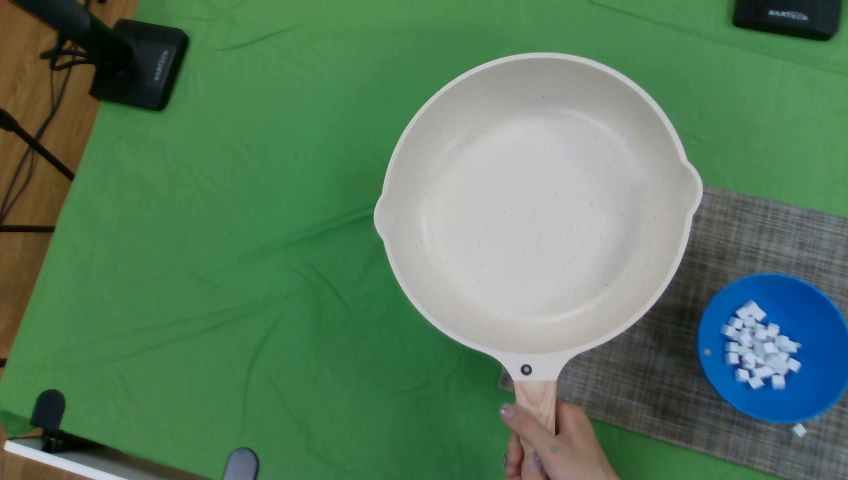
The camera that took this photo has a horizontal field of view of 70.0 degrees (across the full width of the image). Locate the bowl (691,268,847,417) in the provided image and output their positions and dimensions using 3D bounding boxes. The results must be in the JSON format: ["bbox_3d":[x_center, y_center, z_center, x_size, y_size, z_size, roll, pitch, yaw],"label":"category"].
[{"bbox_3d":[0.355,0.110,0.647,0.151,0.077,0.150,-1,78,7],"label":"bowl"}]

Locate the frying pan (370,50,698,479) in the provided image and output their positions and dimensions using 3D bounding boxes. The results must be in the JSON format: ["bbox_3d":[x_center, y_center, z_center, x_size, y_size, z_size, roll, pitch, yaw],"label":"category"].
[{"bbox_3d":[0.099,0.066,0.572,0.306,0.103,0.485,-4,76,18],"label":"frying pan"}]
